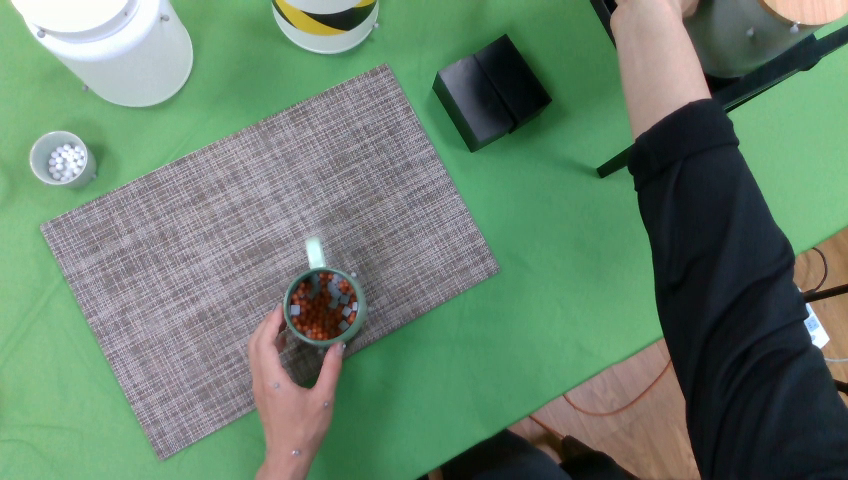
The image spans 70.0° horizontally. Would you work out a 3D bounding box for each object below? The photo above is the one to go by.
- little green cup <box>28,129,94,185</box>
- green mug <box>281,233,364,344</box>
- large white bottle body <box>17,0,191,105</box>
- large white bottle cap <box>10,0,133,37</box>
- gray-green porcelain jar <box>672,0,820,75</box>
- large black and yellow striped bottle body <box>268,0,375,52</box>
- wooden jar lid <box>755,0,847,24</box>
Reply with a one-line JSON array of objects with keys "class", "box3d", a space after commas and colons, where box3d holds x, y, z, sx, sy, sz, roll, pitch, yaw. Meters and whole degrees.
[{"class": "little green cup", "box3d": [-0.410, -0.092, 0.690, 0.062, 0.038, 0.061, 1, 84, -7]}, {"class": "green mug", "box3d": [-0.116, 0.054, 0.674, 0.092, 0.105, 0.125, -11, 84, -8]}, {"class": "large white bottle body", "box3d": [-0.337, -0.234, 0.642, 0.131, 0.185, 0.130, 1, 83, -7]}, {"class": "large white bottle cap", "box3d": [-0.327, -0.245, 0.559, 0.115, 0.018, 0.114, 1, 84, -7]}, {"class": "gray-green porcelain jar", "box3d": [0.308, -0.224, 0.574, 0.106, 0.126, 0.105, 1, 82, -6]}, {"class": "large black and yellow striped bottle body", "box3d": [-0.118, -0.309, 0.680, 0.131, 0.184, 0.130, 1, 83, -7]}, {"class": "wooden jar lid", "box3d": [0.313, -0.233, 0.513, 0.108, 0.020, 0.108, 1, 86, -8]}]
